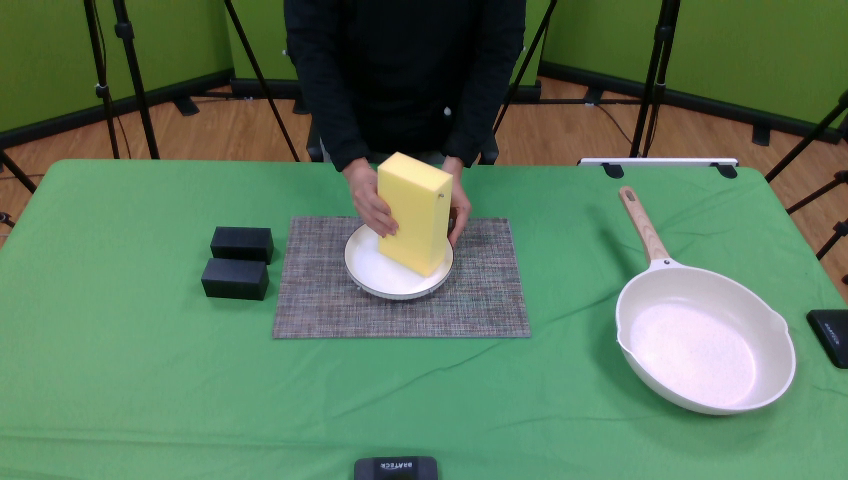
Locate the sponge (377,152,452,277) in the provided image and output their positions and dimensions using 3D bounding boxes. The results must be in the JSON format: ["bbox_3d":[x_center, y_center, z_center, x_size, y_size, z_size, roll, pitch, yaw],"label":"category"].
[{"bbox_3d":[-0.021,-0.043,1.093,0.118,0.208,0.061,26,48,21],"label":"sponge"}]

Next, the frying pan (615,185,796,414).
[{"bbox_3d":[0.450,0.087,1.092,0.307,0.103,0.484,-4,55,-10],"label":"frying pan"}]

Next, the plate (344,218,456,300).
[{"bbox_3d":[-0.045,0.035,1.146,0.208,0.039,0.206,2,46,-2],"label":"plate"}]
